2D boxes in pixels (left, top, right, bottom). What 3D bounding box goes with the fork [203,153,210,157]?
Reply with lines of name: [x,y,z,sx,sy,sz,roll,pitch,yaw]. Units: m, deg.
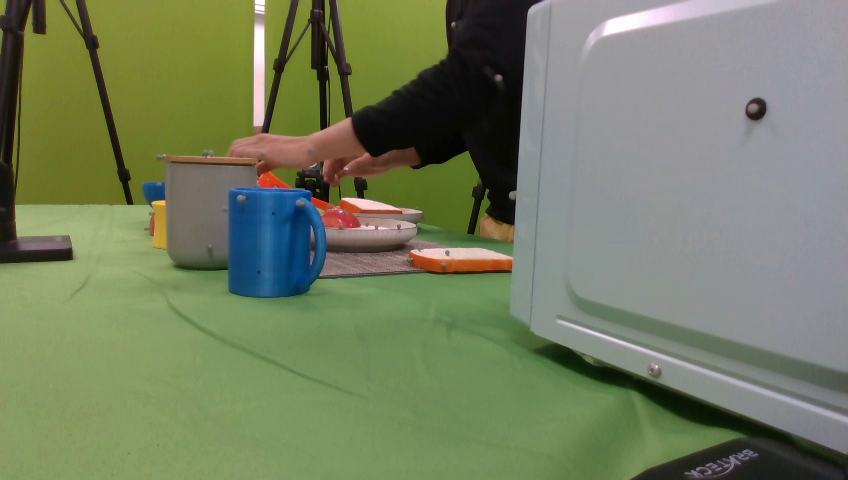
fork: [-0.480,-0.136,1.411,0.028,0.018,0.207,1,-34,-1]

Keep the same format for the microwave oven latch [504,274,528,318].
microwave oven latch: [0.100,0.041,0.471,0.079,0.029,0.030,-1,7,-27]

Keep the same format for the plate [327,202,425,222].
plate: [-0.102,-0.053,1.299,0.209,0.038,0.209,2,9,0]

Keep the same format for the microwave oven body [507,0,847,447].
microwave oven body: [0.331,-0.042,0.425,0.444,0.260,0.324,-2,8,-31]

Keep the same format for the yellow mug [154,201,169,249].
yellow mug: [-0.337,-0.023,0.899,0.130,0.064,0.100,8,10,34]

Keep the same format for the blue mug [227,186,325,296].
blue mug: [-0.146,0.000,0.618,0.116,0.106,0.083,7,9,32]

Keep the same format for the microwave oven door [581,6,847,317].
microwave oven door: [0.295,-0.067,0.569,0.358,0.243,0.039,-3,8,-31]

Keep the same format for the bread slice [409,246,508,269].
bread slice: [0.048,0.022,0.816,0.132,0.019,0.104,0,7,-24]

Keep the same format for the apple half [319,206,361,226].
apple half: [-0.142,-0.041,1.002,0.081,0.033,0.081,0,7,0]

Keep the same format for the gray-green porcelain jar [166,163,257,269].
gray-green porcelain jar: [-0.263,-0.031,0.754,0.106,0.126,0.106,2,7,0]

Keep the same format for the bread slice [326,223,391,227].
bread slice: [-0.116,-0.014,0.975,0.135,0.018,0.106,-6,11,-42]

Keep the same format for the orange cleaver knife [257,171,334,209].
orange cleaver knife: [-0.283,-0.087,1.343,0.212,0.077,0.012,24,-16,-41]

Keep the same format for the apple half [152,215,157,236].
apple half: [-0.415,-0.034,1.017,0.081,0.053,0.074,1,10,-9]

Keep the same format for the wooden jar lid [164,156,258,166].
wooden jar lid: [-0.261,-0.093,0.746,0.108,0.020,0.108,1,9,0]

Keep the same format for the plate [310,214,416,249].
plate: [-0.117,-0.014,0.967,0.208,0.039,0.207,2,7,0]

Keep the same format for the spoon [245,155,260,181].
spoon: [-0.421,-0.150,1.540,0.042,0.021,0.193,-5,55,-37]

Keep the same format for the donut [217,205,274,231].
donut: [-0.318,-0.038,1.080,0.099,0.048,0.099,3,7,0]

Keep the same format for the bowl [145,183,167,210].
bowl: [-0.459,-0.069,1.175,0.151,0.077,0.151,3,7,0]
